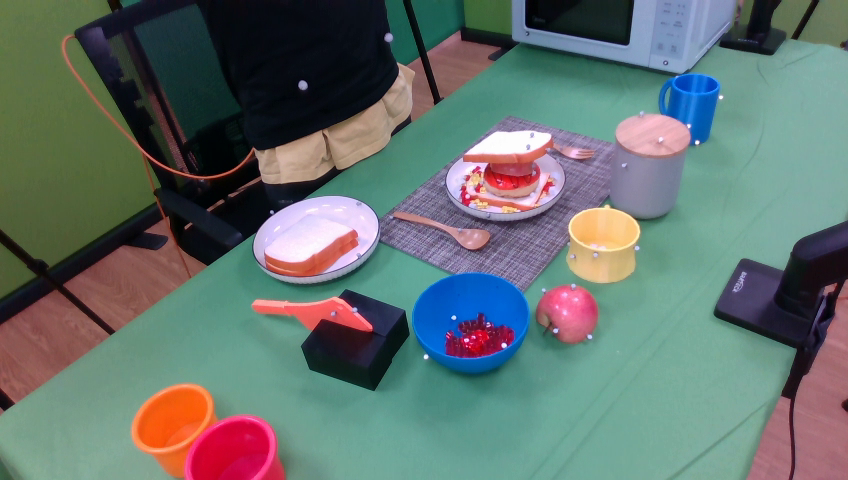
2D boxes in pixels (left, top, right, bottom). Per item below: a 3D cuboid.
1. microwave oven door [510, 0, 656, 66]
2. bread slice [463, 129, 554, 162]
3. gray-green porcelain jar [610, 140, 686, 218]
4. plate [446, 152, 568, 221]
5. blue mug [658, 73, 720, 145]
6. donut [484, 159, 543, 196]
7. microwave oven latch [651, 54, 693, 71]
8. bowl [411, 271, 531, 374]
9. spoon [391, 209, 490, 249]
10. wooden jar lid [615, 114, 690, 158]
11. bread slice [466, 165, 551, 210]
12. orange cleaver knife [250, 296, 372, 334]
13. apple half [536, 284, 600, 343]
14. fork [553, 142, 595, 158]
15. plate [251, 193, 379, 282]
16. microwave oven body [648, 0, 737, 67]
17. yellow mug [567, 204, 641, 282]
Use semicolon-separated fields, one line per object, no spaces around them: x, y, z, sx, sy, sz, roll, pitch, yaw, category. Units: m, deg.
0.350;-0.539;1.349;0.353;0.245;0.039;24;50;31;microwave oven door
0.143;-0.154;0.974;0.130;0.019;0.105;9;35;38;bread slice
0.354;-0.106;0.964;0.106;0.127;0.105;-4;41;4;gray-green porcelain jar
0.143;-0.097;1.045;0.207;0.039;0.206;-4;40;4;plate
0.483;-0.250;1.127;0.082;0.106;0.115;-25;44;-19;blue mug
0.150;-0.112;1.018;0.099;0.048;0.098;-5;40;4;donut
0.532;-0.386;1.301;0.078;0.029;0.030;27;52;34;microwave oven latch
0.062;0.119;0.780;0.151;0.077;0.150;-4;40;4;bowl
0.023;-0.025;0.989;0.192;0.022;0.041;20;71;28;spoon
0.347;-0.155;0.923;0.108;0.021;0.108;-3;44;4;wooden jar lid
0.141;-0.093;1.041;0.133;0.018;0.107;8;42;20;bread slice
-0.159;0.103;0.828;0.210;0.078;0.012;-3;43;39;orange cleaver knife
0.196;0.091;0.815;0.075;0.053;0.080;-22;42;-20;apple half
0.225;-0.186;1.151;0.206;0.019;0.028;21;59;27;fork
-0.174;-0.001;0.984;0.209;0.038;0.208;-4;40;4;plate
0.475;-0.602;1.411;0.438;0.261;0.327;23;50;32;microwave oven body
0.268;-0.005;0.905;0.099;0.064;0.130;6;42;15;yellow mug
